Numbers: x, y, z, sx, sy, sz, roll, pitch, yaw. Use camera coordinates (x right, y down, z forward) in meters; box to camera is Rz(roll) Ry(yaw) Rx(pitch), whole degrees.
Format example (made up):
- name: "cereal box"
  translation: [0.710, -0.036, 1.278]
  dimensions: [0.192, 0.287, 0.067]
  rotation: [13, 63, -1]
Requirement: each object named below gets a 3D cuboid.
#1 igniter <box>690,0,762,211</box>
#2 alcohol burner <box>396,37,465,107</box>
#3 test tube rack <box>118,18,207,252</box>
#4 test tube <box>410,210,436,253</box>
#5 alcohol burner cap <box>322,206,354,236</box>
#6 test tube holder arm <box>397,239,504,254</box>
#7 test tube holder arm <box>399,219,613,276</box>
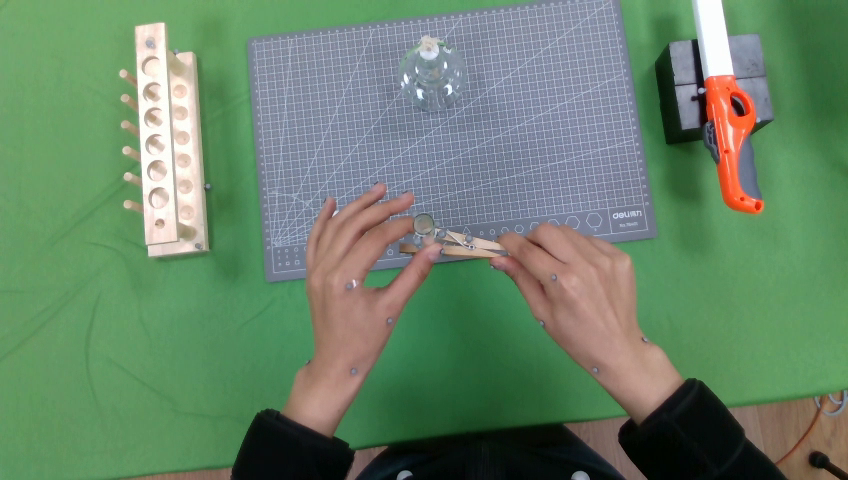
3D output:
- name: "igniter"
  translation: [0.317, -0.164, 0.646]
  dimensions: [0.057, 0.025, 0.275]
  rotation: [-5, 80, -1]
- name: "alcohol burner"
  translation: [0.006, -0.192, 0.663]
  dimensions: [0.078, 0.119, 0.077]
  rotation: [0, 83, 4]
- name: "test tube rack"
  translation: [-0.300, -0.113, 0.682]
  dimensions: [0.067, 0.085, 0.241]
  rotation: [-6, 83, 2]
- name: "test tube"
  translation: [0.001, -0.004, 0.481]
  dimensions: [0.017, 0.150, 0.017]
  rotation: [0, 83, 2]
- name: "alcohol burner cap"
  translation: [-0.099, -0.023, 0.682]
  dimensions: [0.034, 0.048, 0.034]
  rotation: [0, 82, 1]
- name: "test tube holder arm"
  translation: [0.022, 0.005, 0.499]
  dimensions: [0.088, 0.015, 0.010]
  rotation: [2, 89, 2]
- name: "test tube holder arm"
  translation: [0.067, 0.006, 0.498]
  dimensions: [0.178, 0.015, 0.013]
  rotation: [11, 90, 2]
